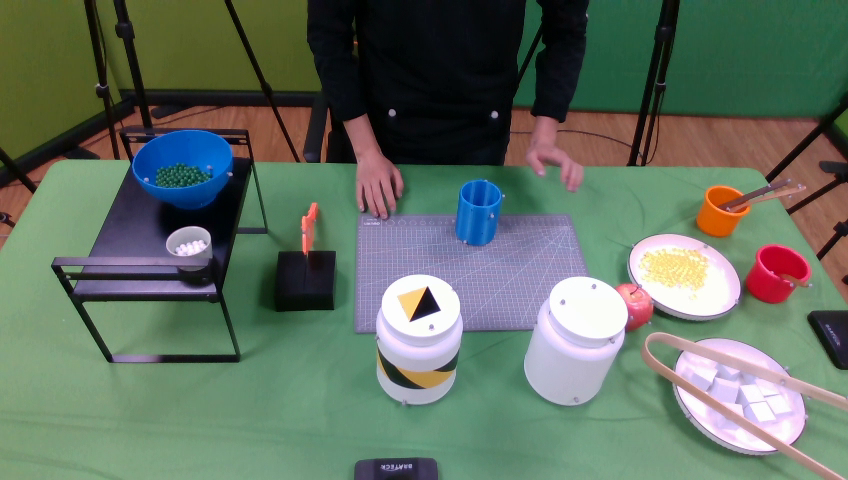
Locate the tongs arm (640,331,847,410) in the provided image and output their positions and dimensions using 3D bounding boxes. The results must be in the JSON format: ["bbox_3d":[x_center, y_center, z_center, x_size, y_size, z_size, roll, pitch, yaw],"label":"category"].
[{"bbox_3d":[0.543,0.226,0.969,0.384,0.026,0.050,22,53,13],"label":"tongs arm"}]

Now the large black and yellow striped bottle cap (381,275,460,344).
[{"bbox_3d":[-0.005,0.098,0.875,0.115,0.019,0.114,2,45,-2],"label":"large black and yellow striped bottle cap"}]

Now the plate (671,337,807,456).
[{"bbox_3d":[0.504,0.254,0.984,0.208,0.039,0.206,2,46,-2],"label":"plate"}]

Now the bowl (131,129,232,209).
[{"bbox_3d":[-0.381,-0.103,0.978,0.151,0.077,0.150,2,46,-2],"label":"bowl"}]

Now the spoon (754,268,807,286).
[{"bbox_3d":[0.647,0.065,1.100,0.041,0.021,0.194,15,3,10],"label":"spoon"}]

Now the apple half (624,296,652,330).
[{"bbox_3d":[0.368,0.135,1.060,0.081,0.081,0.032,-11,43,-15],"label":"apple half"}]

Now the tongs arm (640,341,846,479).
[{"bbox_3d":[0.500,0.278,0.920,0.386,0.028,0.028,34,60,22],"label":"tongs arm"}]

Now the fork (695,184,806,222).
[{"bbox_3d":[0.658,-0.074,1.230,0.207,0.019,0.028,-24,33,36],"label":"fork"}]

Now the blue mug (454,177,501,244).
[{"bbox_3d":[0.106,-0.067,1.208,0.082,0.106,0.116,6,46,1],"label":"blue mug"}]

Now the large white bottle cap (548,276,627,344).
[{"bbox_3d":[0.240,0.100,0.890,0.115,0.018,0.114,3,47,-3],"label":"large white bottle cap"}]

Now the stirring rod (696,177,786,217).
[{"bbox_3d":[0.648,-0.087,1.244,0.176,0.006,0.014,-25,50,29],"label":"stirring rod"}]

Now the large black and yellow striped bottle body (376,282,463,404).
[{"bbox_3d":[-0.010,0.155,0.937,0.131,0.185,0.130,2,47,-2],"label":"large black and yellow striped bottle body"}]

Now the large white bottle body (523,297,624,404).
[{"bbox_3d":[0.235,0.159,0.952,0.131,0.185,0.130,2,47,-2],"label":"large white bottle body"}]

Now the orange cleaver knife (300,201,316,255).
[{"bbox_3d":[-0.221,-0.027,1.160,0.012,0.077,0.210,-1,15,-4],"label":"orange cleaver knife"}]

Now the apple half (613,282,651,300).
[{"bbox_3d":[0.356,0.109,1.086,0.081,0.075,0.053,-14,44,-12],"label":"apple half"}]

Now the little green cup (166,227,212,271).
[{"bbox_3d":[-0.344,0.014,0.895,0.061,0.039,0.061,3,46,-3],"label":"little green cup"}]

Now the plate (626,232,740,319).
[{"bbox_3d":[0.488,0.070,1.156,0.209,0.038,0.208,3,46,-3],"label":"plate"}]
